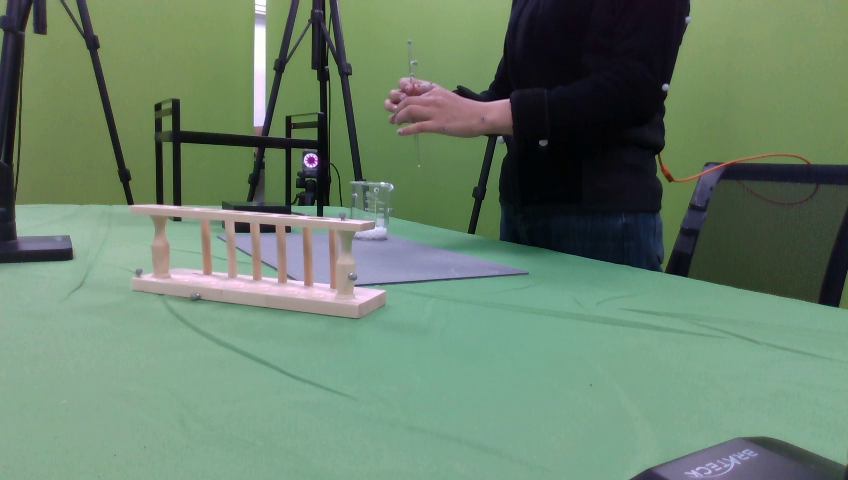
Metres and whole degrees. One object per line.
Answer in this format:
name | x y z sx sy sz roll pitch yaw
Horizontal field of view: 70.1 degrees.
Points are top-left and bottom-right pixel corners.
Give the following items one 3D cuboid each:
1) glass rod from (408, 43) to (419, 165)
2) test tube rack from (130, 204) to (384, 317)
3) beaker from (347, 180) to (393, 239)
glass rod | -0.017 -0.226 1.015 0.008 0.199 0.008 -3 11 1
test tube rack | -0.163 0.013 0.589 0.242 0.085 0.067 5 8 17
beaker | -0.095 -0.054 1.064 0.084 0.100 0.074 6 9 21
